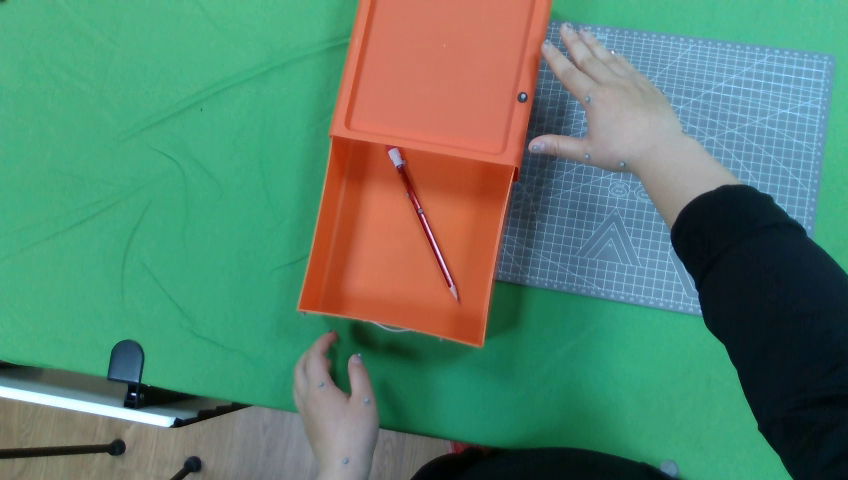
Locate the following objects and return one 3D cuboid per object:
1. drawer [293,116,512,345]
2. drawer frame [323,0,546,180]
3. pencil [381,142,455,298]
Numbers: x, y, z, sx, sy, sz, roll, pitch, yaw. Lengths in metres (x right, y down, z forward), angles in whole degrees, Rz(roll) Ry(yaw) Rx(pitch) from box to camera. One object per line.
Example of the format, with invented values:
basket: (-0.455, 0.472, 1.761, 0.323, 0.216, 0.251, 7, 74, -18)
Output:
drawer: (-0.018, -0.010, 0.639, 0.194, 0.073, 0.211, 10, 87, 8)
drawer frame: (0.016, -0.186, 0.651, 0.201, 0.083, 0.213, 9, 84, 8)
pencil: (-0.006, -0.025, 0.667, 0.012, 0.012, 0.193, -25, 85, 3)
